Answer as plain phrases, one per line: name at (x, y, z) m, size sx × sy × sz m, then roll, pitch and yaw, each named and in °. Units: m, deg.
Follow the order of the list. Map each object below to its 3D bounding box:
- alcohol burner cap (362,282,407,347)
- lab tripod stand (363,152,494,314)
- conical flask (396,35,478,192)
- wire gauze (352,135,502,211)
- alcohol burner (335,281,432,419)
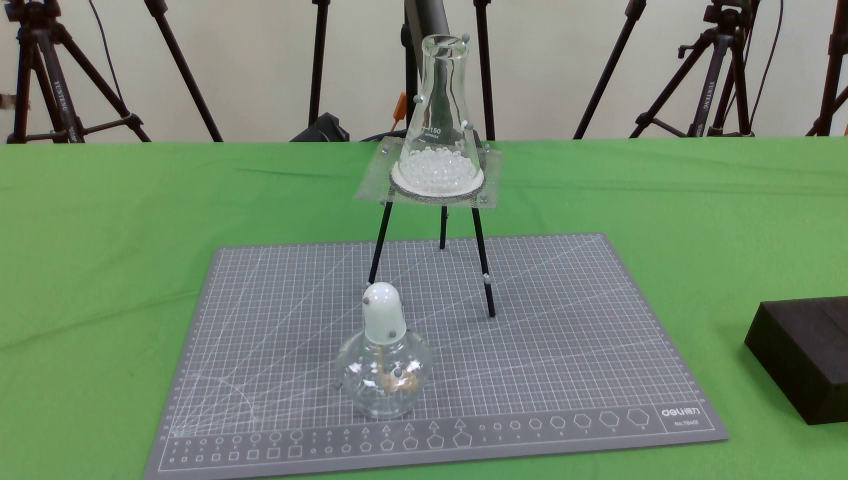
alcohol burner cap at (-0.031, 0.054, 0.455) m, size 0.034 × 0.048 × 0.033 m, roll -4°, pitch 38°, yaw 3°
lab tripod stand at (0.013, -0.007, 0.592) m, size 0.148 × 0.132 × 0.147 m, roll 3°, pitch 34°, yaw -2°
conical flask at (0.014, -0.109, 0.518) m, size 0.075 × 0.123 × 0.074 m, roll 2°, pitch 35°, yaw -1°
wire gauze at (0.008, -0.062, 0.555) m, size 0.121 × 0.011 × 0.124 m, roll 6°, pitch 37°, yaw 6°
alcohol burner at (-0.032, 0.083, 0.477) m, size 0.078 × 0.120 × 0.077 m, roll 1°, pitch 33°, yaw 0°
